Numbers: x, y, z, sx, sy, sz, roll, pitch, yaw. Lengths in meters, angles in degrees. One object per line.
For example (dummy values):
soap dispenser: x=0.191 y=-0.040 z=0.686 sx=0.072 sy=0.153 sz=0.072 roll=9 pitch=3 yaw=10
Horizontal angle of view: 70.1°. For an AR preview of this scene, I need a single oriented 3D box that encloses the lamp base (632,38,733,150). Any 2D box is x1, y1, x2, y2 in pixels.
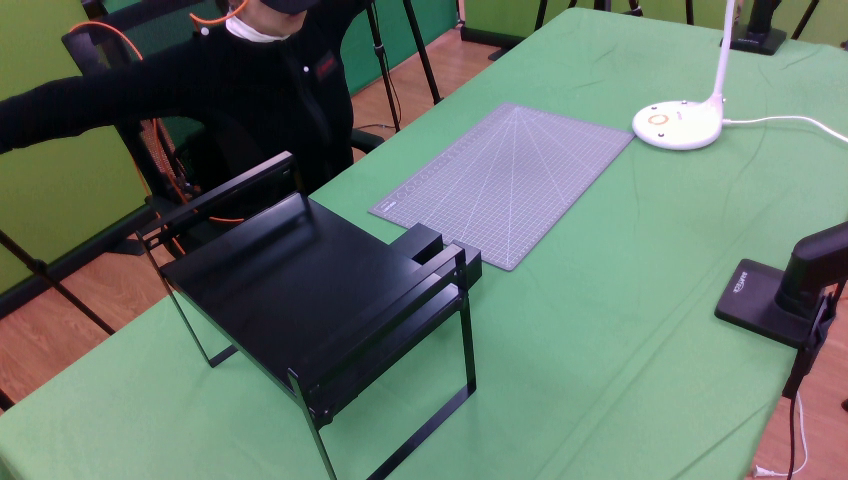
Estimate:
lamp base: x=0.486 y=-0.280 z=1.108 sx=0.179 sy=0.181 sz=0.159 roll=-5 pitch=41 yaw=-1
